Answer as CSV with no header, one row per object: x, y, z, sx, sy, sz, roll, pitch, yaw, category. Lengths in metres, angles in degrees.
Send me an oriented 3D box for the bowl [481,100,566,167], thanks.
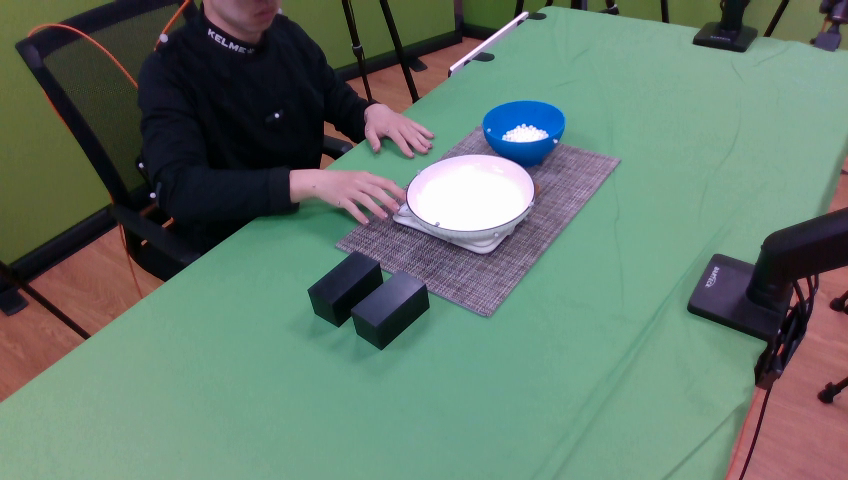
0.183,-0.187,1.111,0.151,0.077,0.150,-4,41,4,bowl

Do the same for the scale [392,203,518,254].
0.061,-0.051,1.006,0.199,0.032,0.149,22,48,30,scale

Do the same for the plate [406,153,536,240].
0.075,-0.067,0.973,0.209,0.038,0.208,-4,41,4,plate

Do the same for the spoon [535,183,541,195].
0.120,-0.108,1.071,0.192,0.022,0.041,22,62,31,spoon
